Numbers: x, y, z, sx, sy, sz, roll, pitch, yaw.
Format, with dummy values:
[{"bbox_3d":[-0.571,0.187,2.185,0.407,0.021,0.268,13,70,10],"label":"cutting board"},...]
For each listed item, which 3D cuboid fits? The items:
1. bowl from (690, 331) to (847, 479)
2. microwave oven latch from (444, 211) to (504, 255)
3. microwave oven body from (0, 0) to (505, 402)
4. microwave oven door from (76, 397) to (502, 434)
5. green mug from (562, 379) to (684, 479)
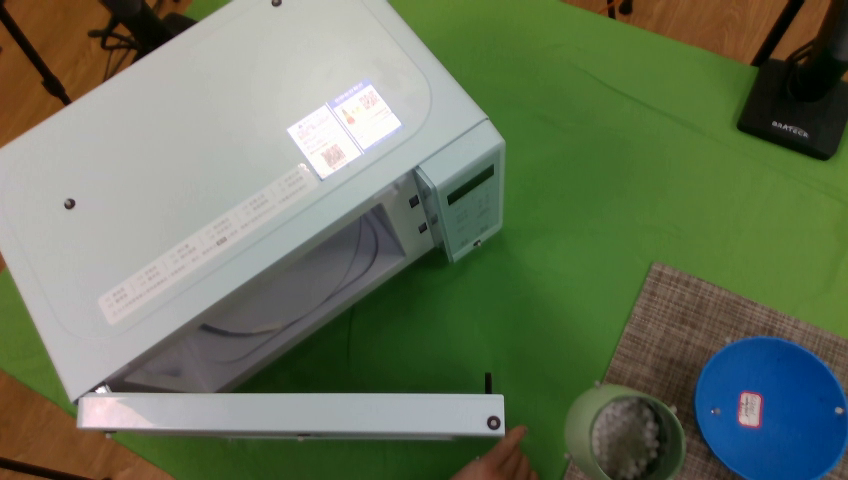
[{"bbox_3d":[0.353,0.177,0.645,0.151,0.077,0.150,-2,72,6],"label":"bowl"},{"bbox_3d":[0.061,-0.016,0.744,0.079,0.030,0.030,-34,72,-4],"label":"microwave oven latch"},{"bbox_3d":[-0.179,-0.055,0.681,0.441,0.262,0.324,-36,72,-5],"label":"microwave oven body"},{"bbox_3d":[-0.101,0.170,0.595,0.355,0.245,0.039,-2,72,6],"label":"microwave oven door"},{"bbox_3d":[0.186,0.186,0.542,0.092,0.105,0.124,-37,78,-5],"label":"green mug"}]
